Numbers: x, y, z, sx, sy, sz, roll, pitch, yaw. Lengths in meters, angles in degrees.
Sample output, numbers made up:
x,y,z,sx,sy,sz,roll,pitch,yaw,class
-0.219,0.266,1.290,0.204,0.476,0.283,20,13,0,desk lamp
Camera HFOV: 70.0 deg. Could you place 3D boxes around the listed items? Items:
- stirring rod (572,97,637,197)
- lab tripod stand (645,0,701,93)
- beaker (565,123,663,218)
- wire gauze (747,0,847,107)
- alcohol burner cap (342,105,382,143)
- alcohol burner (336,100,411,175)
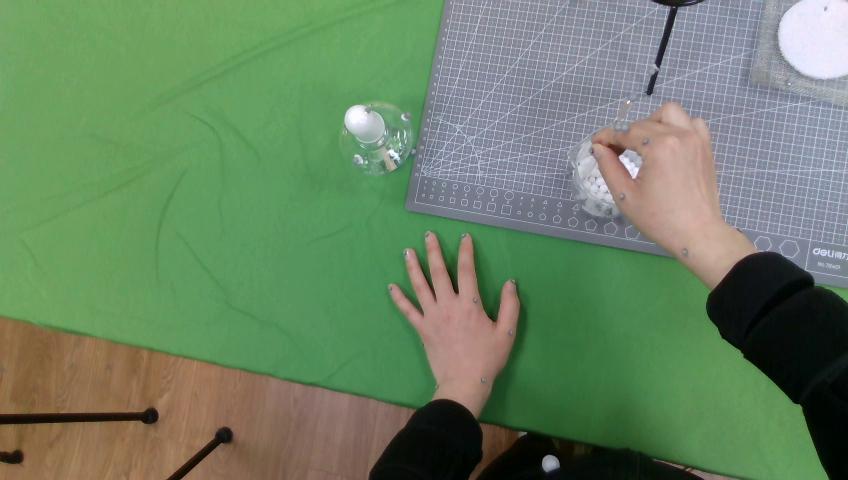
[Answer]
x,y,z,sx,sy,sz,roll,pitch,yaw,class
0.147,-0.072,0.508,0.014,0.177,0.006,-2,72,2,stirring rod
0.220,-0.228,0.560,0.148,0.132,0.148,0,86,8,lab tripod stand
0.172,-0.061,0.572,0.084,0.100,0.074,17,87,11,beaker
0.391,-0.198,0.595,0.125,0.011,0.121,15,87,7,wire gauze
-0.061,-0.111,0.572,0.034,0.048,0.034,0,88,9,alcohol burner cap
-0.054,-0.107,0.607,0.078,0.119,0.077,-1,83,8,alcohol burner
